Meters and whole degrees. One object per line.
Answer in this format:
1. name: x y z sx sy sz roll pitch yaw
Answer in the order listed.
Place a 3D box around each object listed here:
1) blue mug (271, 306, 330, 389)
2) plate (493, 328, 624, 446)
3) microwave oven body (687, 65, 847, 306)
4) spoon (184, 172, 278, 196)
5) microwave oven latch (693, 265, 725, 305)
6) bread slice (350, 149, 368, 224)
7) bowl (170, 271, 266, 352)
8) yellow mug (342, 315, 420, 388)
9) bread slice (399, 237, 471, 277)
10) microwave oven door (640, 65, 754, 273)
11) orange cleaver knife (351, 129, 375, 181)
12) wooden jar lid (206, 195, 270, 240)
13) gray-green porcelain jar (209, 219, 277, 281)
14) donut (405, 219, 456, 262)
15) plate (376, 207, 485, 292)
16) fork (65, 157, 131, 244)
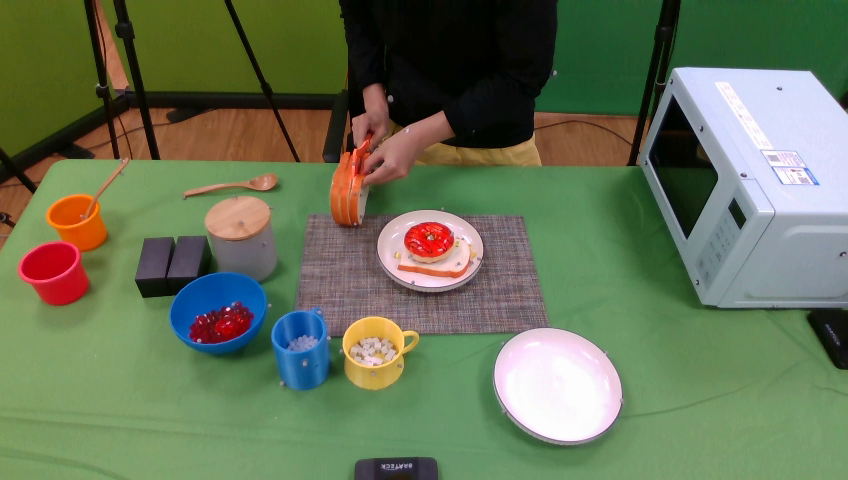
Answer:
1. blue mug: -0.188 0.163 0.969 0.082 0.106 0.116 15 47 10
2. plate: 0.213 0.236 0.974 0.208 0.039 0.206 2 46 -2
3. microwave oven body: 0.669 -0.111 1.176 0.326 0.261 0.439 0 46 -3
4. spoon: -0.406 -0.116 1.275 0.194 0.022 0.041 -8 66 -12
5. microwave oven latch: 0.522 0.081 1.115 0.030 0.029 0.078 2 46 -1
6. bread slice: -0.131 -0.100 1.226 0.018 0.107 0.133 3 51 2
7. bowl: -0.334 0.132 1.006 0.151 0.077 0.150 2 46 -2
8. yellow mug: -0.068 0.177 0.990 0.131 0.064 0.099 -15 50 -19
9. bread slice: 0.025 0.025 1.160 0.131 0.019 0.104 7 47 7
10. microwave oven door: 0.522 -0.147 1.193 0.039 0.245 0.353 0 47 -3
11. orange cleaver knife: -0.127 -0.180 1.270 0.012 0.077 0.210 7 25 4
12. wooden jar lid: -0.319 -0.036 1.046 0.108 0.021 0.107 1 44 0
13. gray-green porcelain jar: -0.323 0.007 1.092 0.106 0.127 0.105 2 46 -2
14. donut: 0.012 -0.001 1.140 0.099 0.048 0.098 0 44 0
15. plate: 0.012 0.021 1.158 0.209 0.038 0.208 2 47 -2
16. fork: -0.609 -0.074 1.132 0.207 0.019 0.028 -52 50 10
